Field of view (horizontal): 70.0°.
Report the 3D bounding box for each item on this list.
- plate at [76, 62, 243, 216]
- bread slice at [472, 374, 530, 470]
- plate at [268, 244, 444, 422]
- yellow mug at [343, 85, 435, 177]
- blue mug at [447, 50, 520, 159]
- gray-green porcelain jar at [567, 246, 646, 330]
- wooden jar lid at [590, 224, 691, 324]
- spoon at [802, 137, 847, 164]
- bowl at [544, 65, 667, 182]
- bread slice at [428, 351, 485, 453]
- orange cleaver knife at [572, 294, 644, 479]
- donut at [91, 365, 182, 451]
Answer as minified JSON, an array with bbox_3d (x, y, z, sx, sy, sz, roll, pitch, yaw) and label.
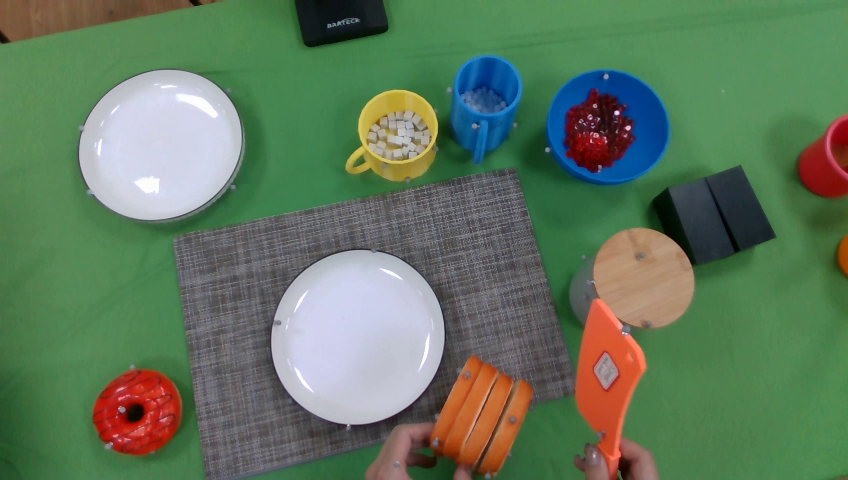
[{"bbox_3d":[-0.335,-0.127,0.782,0.208,0.039,0.206,0,77,-1],"label":"plate"},{"bbox_3d":[0.080,0.189,0.625,0.019,0.132,0.104,25,75,9],"label":"bread slice"},{"bbox_3d":[-0.079,0.109,0.727,0.209,0.038,0.208,0,76,-1],"label":"plate"},{"bbox_3d":[-0.048,-0.129,0.774,0.131,0.064,0.099,-35,79,-7],"label":"yellow mug"},{"bbox_3d":[0.070,-0.160,0.764,0.082,0.106,0.116,7,76,1],"label":"blue mug"},{"bbox_3d":[0.228,0.052,0.706,0.106,0.127,0.105,0,76,-1],"label":"gray-green porcelain jar"},{"bbox_3d":[0.228,0.037,0.646,0.108,0.021,0.108,1,78,-3],"label":"wooden jar lid"},{"bbox_3d":[0.573,-0.106,0.742,0.192,0.022,0.041,12,66,48],"label":"spoon"},{"bbox_3d":[0.222,-0.137,0.776,0.151,0.077,0.150,0,77,-1],"label":"bowl"},{"bbox_3d":[0.036,0.168,0.638,0.018,0.135,0.106,24,69,14],"label":"bread slice"},{"bbox_3d":[0.152,0.144,0.526,0.012,0.213,0.076,-15,33,-18],"label":"orange cleaver knife"},{"bbox_3d":[-0.331,0.194,0.702,0.099,0.048,0.098,1,76,-4],"label":"donut"}]
